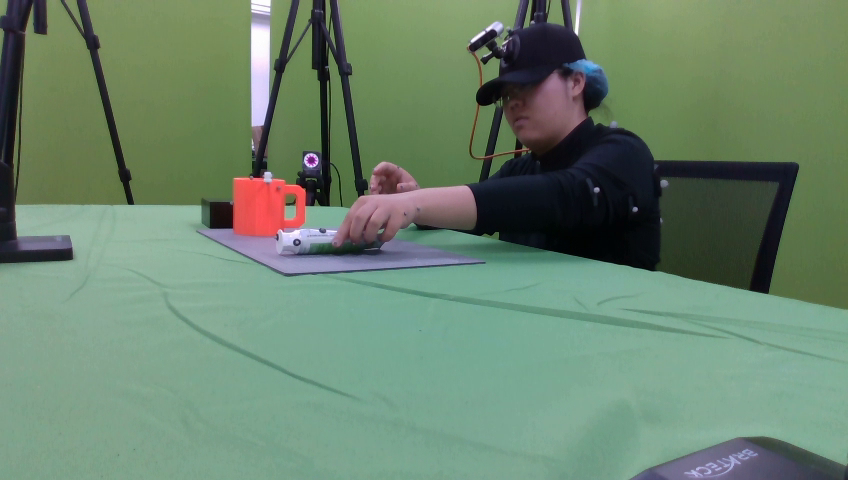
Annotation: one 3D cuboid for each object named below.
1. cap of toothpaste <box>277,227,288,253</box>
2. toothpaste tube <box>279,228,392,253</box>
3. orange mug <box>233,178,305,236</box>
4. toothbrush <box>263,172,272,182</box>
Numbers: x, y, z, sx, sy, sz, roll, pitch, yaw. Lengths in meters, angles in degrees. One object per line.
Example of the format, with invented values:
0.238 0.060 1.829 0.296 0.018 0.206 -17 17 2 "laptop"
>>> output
-0.195 0.000 0.833 0.011 0.037 0.037 1 7 -28 "cap of toothpaste"
-0.128 0.001 0.873 0.166 0.034 0.055 1 -21 -33 "toothpaste tube"
-0.273 -0.061 1.067 0.127 0.101 0.083 -5 10 -24 "orange mug"
-0.273 -0.112 1.055 0.014 0.016 0.181 -7 9 -13 "toothbrush"
